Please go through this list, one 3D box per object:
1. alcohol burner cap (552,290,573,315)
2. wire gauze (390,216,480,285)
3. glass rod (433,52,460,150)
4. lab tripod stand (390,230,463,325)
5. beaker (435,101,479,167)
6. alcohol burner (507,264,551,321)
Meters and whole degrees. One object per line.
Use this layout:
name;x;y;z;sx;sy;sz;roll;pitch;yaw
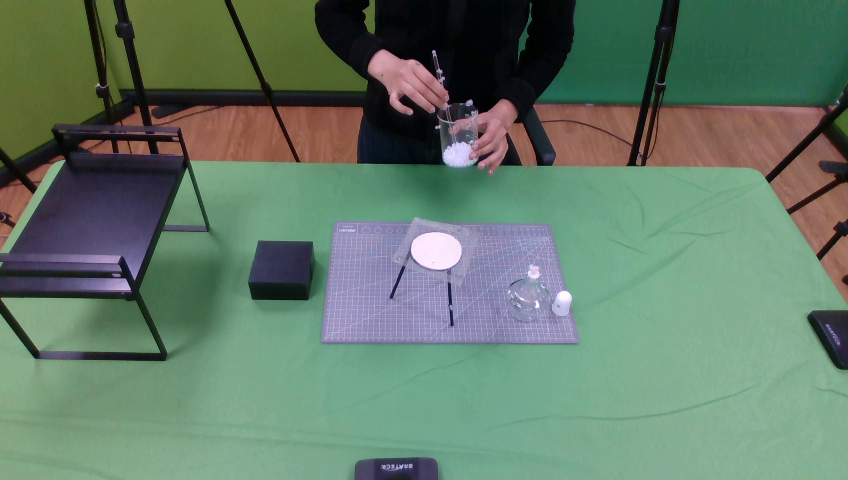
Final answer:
alcohol burner cap;0.251;0.109;1.088;0.034;0.048;0.033;2;47;-2
wire gauze;0.020;0.012;1.009;0.125;0.011;0.121;16;47;12
glass rod;0.041;-0.241;1.076;0.008;0.201;0.008;-10;42;10
lab tripod stand;0.014;0.060;1.056;0.148;0.132;0.147;1;48;-1
beaker;0.065;-0.190;1.105;0.074;0.101;0.083;-21;43;-16
alcohol burner;0.185;0.086;1.056;0.078;0.120;0.077;1;47;-1
